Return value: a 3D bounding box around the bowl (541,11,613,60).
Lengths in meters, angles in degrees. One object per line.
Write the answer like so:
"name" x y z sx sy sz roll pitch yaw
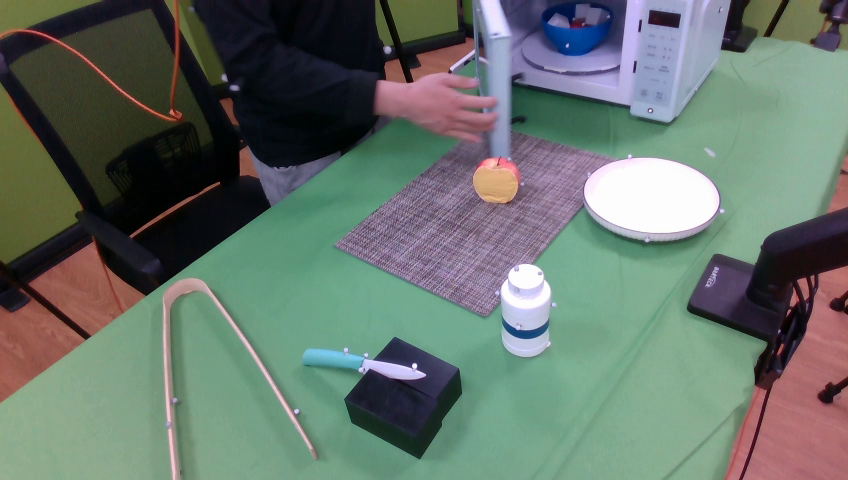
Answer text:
"bowl" 0.332 -0.438 1.307 0.151 0.077 0.151 -8 30 5

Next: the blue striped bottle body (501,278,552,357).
"blue striped bottle body" 0.130 0.088 0.769 0.063 0.121 0.063 -4 41 4

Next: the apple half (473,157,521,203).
"apple half" 0.128 -0.106 1.030 0.080 0.075 0.053 4 37 19

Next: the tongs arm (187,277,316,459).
"tongs arm" -0.241 0.154 0.816 0.028 0.028 0.384 -31 46 -21

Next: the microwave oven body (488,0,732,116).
"microwave oven body" 0.377 -0.462 1.267 0.438 0.261 0.327 21 48 30

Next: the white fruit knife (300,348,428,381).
"white fruit knife" -0.079 0.154 0.748 0.206 0.027 0.016 1 21 34

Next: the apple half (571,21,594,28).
"apple half" 0.335 -0.449 1.300 0.081 0.033 0.081 -16 32 11

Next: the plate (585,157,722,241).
"plate" 0.367 -0.063 0.979 0.207 0.039 0.206 -4 40 4

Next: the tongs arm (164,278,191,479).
"tongs arm" -0.313 0.182 0.789 0.051 0.026 0.381 -19 41 -14

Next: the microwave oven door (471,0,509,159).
"microwave oven door" 0.123 -0.340 1.153 0.039 0.245 0.354 -6 40 3

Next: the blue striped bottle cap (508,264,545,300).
"blue striped bottle cap" 0.125 0.050 0.735 0.044 0.021 0.044 -6 39 5

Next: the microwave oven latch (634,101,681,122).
"microwave oven latch" 0.446 -0.250 1.158 0.078 0.029 0.030 25 51 33
